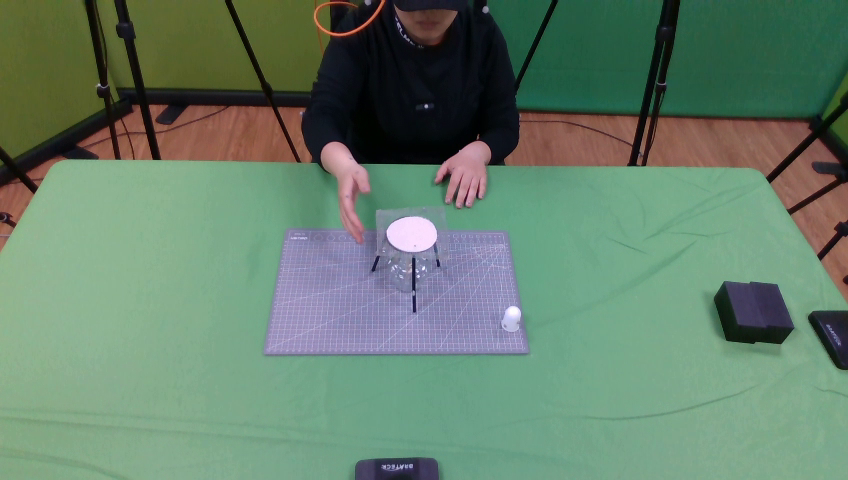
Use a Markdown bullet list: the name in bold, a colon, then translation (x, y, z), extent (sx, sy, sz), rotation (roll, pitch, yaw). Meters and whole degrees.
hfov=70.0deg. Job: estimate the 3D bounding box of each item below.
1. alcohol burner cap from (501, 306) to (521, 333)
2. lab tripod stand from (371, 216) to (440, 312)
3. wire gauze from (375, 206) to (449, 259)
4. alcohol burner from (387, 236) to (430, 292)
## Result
- **alcohol burner cap**: translation (0.155, 0.137, 1.061), extent (0.034, 0.048, 0.033), rotation (2, 45, -1)
- **lab tripod stand**: translation (-0.029, 0.033, 1.084), extent (0.148, 0.132, 0.147), rotation (1, 47, -1)
- **wire gauze**: translation (-0.023, -0.014, 1.035), extent (0.125, 0.011, 0.120), rotation (-1, 46, -3)
- **alcohol burner**: translation (-0.028, 0.038, 1.093), extent (0.078, 0.120, 0.077), rotation (1, 46, -1)
